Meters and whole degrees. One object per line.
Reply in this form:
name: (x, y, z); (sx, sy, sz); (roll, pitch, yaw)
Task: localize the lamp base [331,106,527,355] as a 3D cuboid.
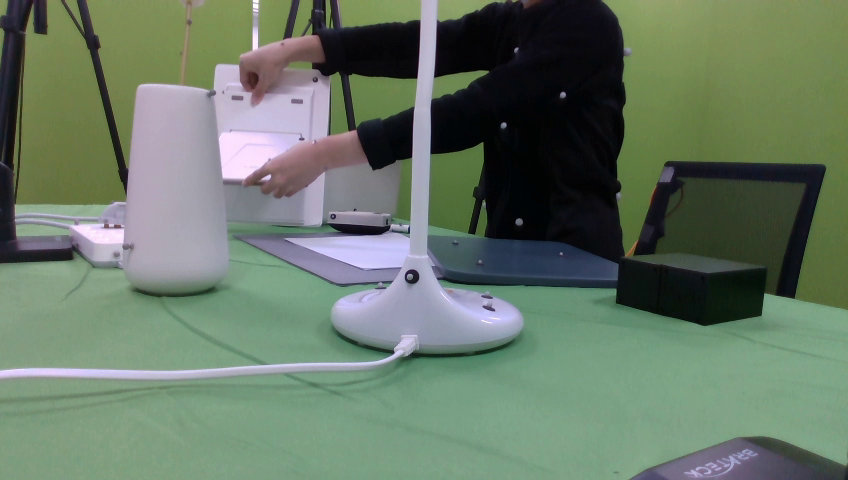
lamp base: (0.006, -0.012, 0.478); (0.161, 0.180, 0.179); (2, 10, 2)

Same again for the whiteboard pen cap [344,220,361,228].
whiteboard pen cap: (-0.144, -0.032, 1.230); (0.033, 0.018, 0.018); (6, 8, 17)

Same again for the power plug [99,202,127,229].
power plug: (-0.415, -0.026, 0.848); (0.073, 0.052, 0.035); (6, 5, -27)

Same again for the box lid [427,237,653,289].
box lid: (0.139, 0.027, 0.886); (0.264, 0.015, 0.371); (2, 7, -6)

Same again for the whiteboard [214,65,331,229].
whiteboard: (-0.291, -0.184, 1.068); (0.217, 0.305, 0.144); (2, -7, 0)

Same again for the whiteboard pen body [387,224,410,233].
whiteboard pen body: (-0.088, -0.026, 1.213); (0.140, 0.017, 0.017); (5, 8, 17)

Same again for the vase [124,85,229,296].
vase: (-0.244, -0.047, 0.598); (0.098, 0.200, 0.098); (3, 8, 0)

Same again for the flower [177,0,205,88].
flower: (-0.243, -0.131, 0.609); (0.044, 0.361, 0.038); (-5, -12, 11)

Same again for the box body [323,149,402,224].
box body: (-0.254, -0.129, 1.379); (0.253, 0.160, 0.366); (8, 9, 36)

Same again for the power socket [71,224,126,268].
power socket: (-0.409, 0.004, 0.793); (0.072, 0.032, 0.225); (-2, 8, -37)

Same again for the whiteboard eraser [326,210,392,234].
whiteboard eraser: (-0.121, -0.033, 1.131); (0.112, 0.042, 0.056); (5, 8, 13)
